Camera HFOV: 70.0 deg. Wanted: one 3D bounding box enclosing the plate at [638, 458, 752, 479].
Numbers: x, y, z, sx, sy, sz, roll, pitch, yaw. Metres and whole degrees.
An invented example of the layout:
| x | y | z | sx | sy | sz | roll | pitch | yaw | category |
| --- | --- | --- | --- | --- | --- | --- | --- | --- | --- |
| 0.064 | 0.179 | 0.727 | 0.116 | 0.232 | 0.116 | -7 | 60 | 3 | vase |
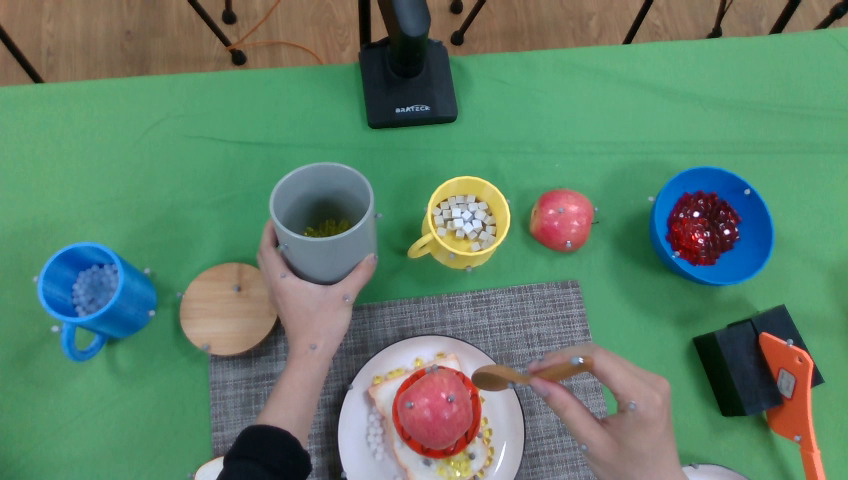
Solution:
| x | y | z | sx | sy | sz | roll | pitch | yaw | category |
| --- | --- | --- | --- | --- | --- | --- | --- | --- | --- |
| 0.305 | 0.350 | 0.673 | 0.209 | 0.038 | 0.208 | 2 | 74 | -6 | plate |

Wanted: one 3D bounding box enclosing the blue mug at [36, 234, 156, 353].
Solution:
| x | y | z | sx | sy | sz | roll | pitch | yaw | category |
| --- | --- | --- | --- | --- | --- | --- | --- | --- | --- |
| -0.350 | 0.063 | 0.644 | 0.082 | 0.106 | 0.116 | 14 | 73 | -2 | blue mug |

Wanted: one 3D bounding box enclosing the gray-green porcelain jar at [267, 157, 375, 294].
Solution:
| x | y | z | sx | sy | sz | roll | pitch | yaw | category |
| --- | --- | --- | --- | --- | --- | --- | --- | --- | --- |
| -0.107 | -0.009 | 0.660 | 0.106 | 0.127 | 0.105 | 1 | 54 | -2 | gray-green porcelain jar |

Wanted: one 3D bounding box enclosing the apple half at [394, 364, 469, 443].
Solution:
| x | y | z | sx | sy | sz | roll | pitch | yaw | category |
| --- | --- | --- | --- | --- | --- | --- | --- | --- | --- |
| 0.011 | 0.168 | 0.621 | 0.081 | 0.033 | 0.081 | 0 | 73 | 0 | apple half |

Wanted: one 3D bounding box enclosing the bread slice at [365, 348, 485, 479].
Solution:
| x | y | z | sx | sy | sz | roll | pitch | yaw | category |
| --- | --- | --- | --- | --- | --- | --- | --- | --- | --- |
| 0.009 | 0.201 | 0.680 | 0.107 | 0.018 | 0.133 | -23 | 77 | -11 | bread slice |

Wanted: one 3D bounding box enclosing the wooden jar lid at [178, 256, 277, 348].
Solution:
| x | y | z | sx | sy | sz | roll | pitch | yaw | category |
| --- | --- | --- | --- | --- | --- | --- | --- | --- | --- |
| -0.224 | 0.072 | 0.698 | 0.108 | 0.021 | 0.107 | 2 | 70 | -5 | wooden jar lid |

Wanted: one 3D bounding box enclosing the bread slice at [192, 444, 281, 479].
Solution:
| x | y | z | sx | sy | sz | roll | pitch | yaw | category |
| --- | --- | --- | --- | --- | --- | --- | --- | --- | --- |
| -0.204 | 0.285 | 0.641 | 0.105 | 0.019 | 0.131 | 2 | 75 | -8 | bread slice |

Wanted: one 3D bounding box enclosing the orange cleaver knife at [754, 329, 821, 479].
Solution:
| x | y | z | sx | sy | sz | roll | pitch | yaw | category |
| --- | --- | --- | --- | --- | --- | --- | --- | --- | --- |
| 0.424 | 0.206 | 0.705 | 0.012 | 0.077 | 0.212 | -16 | 98 | -17 | orange cleaver knife |

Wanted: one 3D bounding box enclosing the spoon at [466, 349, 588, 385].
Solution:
| x | y | z | sx | sy | sz | roll | pitch | yaw | category |
| --- | --- | --- | --- | --- | --- | --- | --- | --- | --- |
| 0.078 | 0.102 | 0.476 | 0.042 | 0.194 | 0.021 | 18 | 73 | -10 | spoon |

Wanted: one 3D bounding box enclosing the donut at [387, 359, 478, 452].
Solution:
| x | y | z | sx | sy | sz | roll | pitch | yaw | category |
| --- | --- | --- | --- | --- | --- | --- | --- | --- | --- |
| 0.010 | 0.178 | 0.655 | 0.099 | 0.048 | 0.098 | 2 | 74 | -6 | donut |

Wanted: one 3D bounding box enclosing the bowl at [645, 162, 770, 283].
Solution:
| x | y | z | sx | sy | sz | roll | pitch | yaw | category |
| --- | --- | --- | --- | --- | --- | --- | --- | --- | --- |
| 0.340 | -0.013 | 0.759 | 0.151 | 0.077 | 0.150 | 2 | 74 | -6 | bowl |

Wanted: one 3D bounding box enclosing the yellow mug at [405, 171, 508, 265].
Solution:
| x | y | z | sx | sy | sz | roll | pitch | yaw | category |
| --- | --- | --- | --- | --- | --- | --- | --- | --- | --- |
| 0.034 | -0.018 | 0.732 | 0.131 | 0.064 | 0.099 | -29 | 79 | -13 | yellow mug |

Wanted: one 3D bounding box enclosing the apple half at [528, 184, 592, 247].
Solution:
| x | y | z | sx | sy | sz | roll | pitch | yaw | category |
| --- | --- | --- | --- | --- | --- | --- | --- | --- | --- |
| 0.173 | -0.036 | 0.760 | 0.074 | 0.053 | 0.080 | 15 | 73 | 1 | apple half |

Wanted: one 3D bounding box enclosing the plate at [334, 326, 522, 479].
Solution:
| x | y | z | sx | sy | sz | roll | pitch | yaw | category |
| --- | --- | --- | --- | --- | --- | --- | --- | --- | --- |
| 0.004 | 0.202 | 0.677 | 0.208 | 0.039 | 0.206 | 2 | 75 | -6 | plate |
